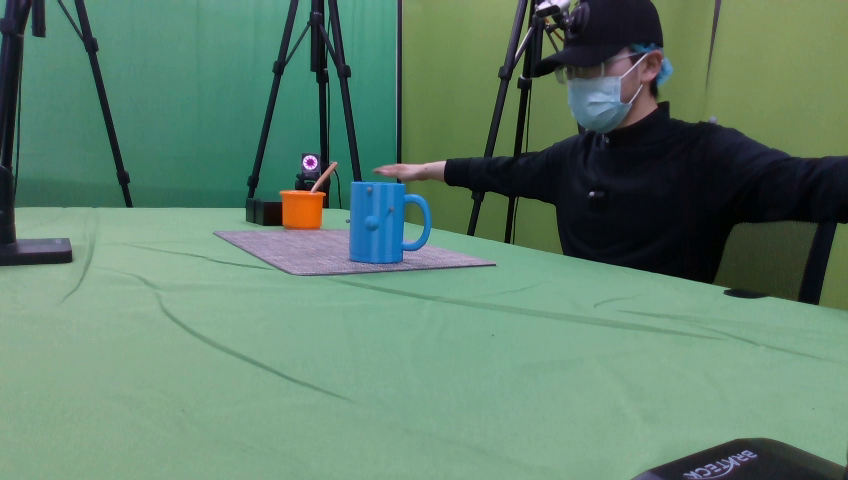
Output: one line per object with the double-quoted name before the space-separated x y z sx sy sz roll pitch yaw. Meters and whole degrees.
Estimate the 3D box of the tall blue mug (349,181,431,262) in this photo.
"tall blue mug" -0.051 -0.028 0.849 0.108 0.108 0.077 -1 7 -22

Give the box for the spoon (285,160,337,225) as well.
"spoon" -0.229 -0.101 1.251 0.041 0.194 0.022 4 -37 34
